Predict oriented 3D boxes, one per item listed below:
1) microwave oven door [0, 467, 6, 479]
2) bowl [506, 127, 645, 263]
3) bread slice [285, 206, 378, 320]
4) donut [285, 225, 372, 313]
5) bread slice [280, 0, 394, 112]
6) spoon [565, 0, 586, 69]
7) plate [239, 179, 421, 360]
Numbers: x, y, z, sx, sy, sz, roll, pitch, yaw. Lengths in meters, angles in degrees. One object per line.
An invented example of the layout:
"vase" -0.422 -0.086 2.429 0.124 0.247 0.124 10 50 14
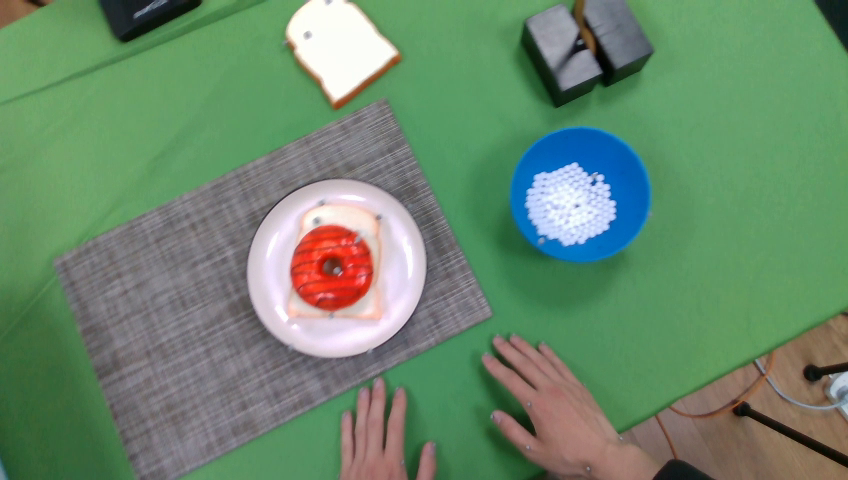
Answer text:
"microwave oven door" -0.493 0.256 0.568 0.039 0.244 0.354 -29 81 -2
"bowl" 0.165 -0.043 0.689 0.151 0.077 0.151 0 81 2
"bread slice" -0.107 0.027 0.706 0.107 0.018 0.134 -2 82 1
"donut" -0.107 0.032 0.676 0.099 0.048 0.098 0 82 3
"bread slice" -0.119 -0.240 0.761 0.105 0.019 0.131 -40 83 -5
"spoon" 0.163 -0.235 0.660 0.021 0.194 0.041 -26 78 12
"plate" -0.106 0.035 0.704 0.207 0.039 0.207 0 81 2
